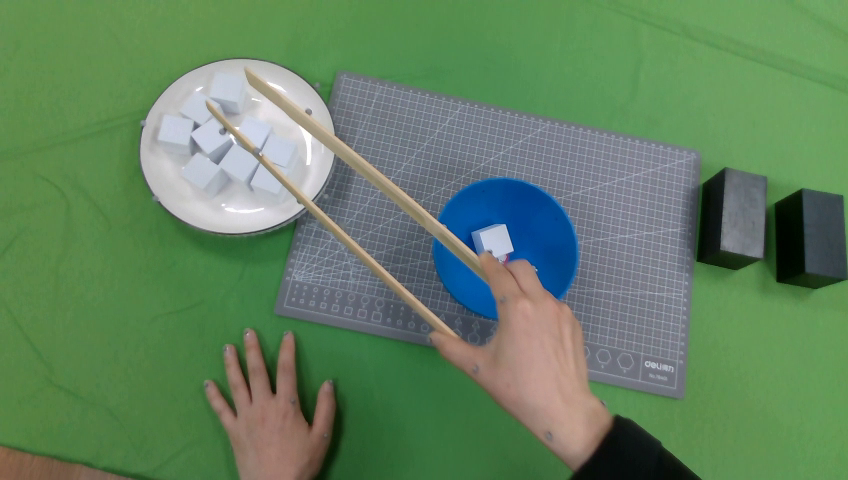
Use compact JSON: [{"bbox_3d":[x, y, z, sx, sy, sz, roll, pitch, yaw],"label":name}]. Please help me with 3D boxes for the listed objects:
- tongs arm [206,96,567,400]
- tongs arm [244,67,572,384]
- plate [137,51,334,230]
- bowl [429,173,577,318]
[{"bbox_3d":[-0.042,-0.004,0.502,0.050,0.027,0.383,-41,77,-19],"label":"tongs arm"},{"bbox_3d":[-0.022,-0.023,0.512,0.386,0.028,0.028,42,67,12],"label":"tongs arm"},{"bbox_3d":[-0.202,-0.107,0.667,0.208,0.039,0.206,1,75,-4],"label":"plate"},{"bbox_3d":[0.076,0.014,0.640,0.151,0.077,0.150,2,74,-6],"label":"bowl"}]
